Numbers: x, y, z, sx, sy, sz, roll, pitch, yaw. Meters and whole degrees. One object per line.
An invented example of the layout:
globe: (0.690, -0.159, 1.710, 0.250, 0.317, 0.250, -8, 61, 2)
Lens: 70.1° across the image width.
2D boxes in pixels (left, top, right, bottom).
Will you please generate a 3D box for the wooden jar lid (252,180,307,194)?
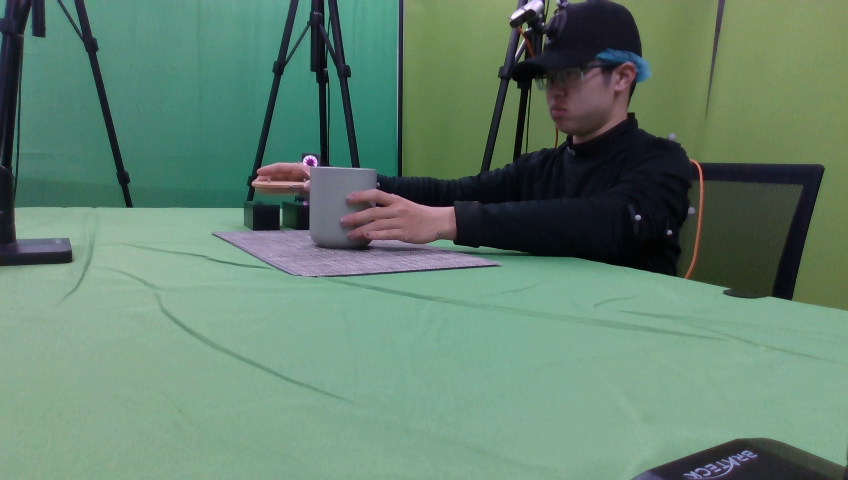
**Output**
wooden jar lid: (-0.288, -0.106, 1.206, 0.108, 0.020, 0.108, 2, 10, 0)

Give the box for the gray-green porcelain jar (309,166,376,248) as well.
gray-green porcelain jar: (-0.130, -0.054, 0.966, 0.106, 0.126, 0.106, 2, 8, 0)
